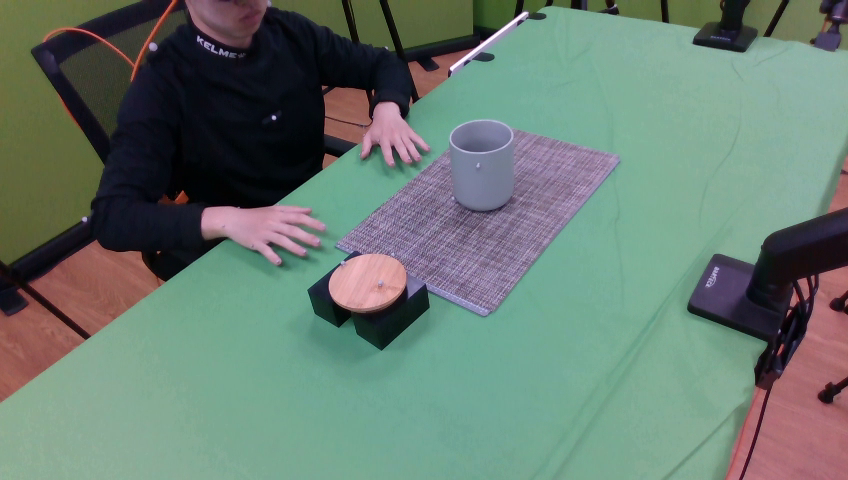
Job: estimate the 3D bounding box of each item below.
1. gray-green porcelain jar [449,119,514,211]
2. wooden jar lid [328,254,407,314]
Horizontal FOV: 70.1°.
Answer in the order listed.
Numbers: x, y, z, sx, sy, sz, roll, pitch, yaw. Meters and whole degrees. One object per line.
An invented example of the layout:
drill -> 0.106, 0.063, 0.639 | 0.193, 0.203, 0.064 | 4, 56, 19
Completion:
gray-green porcelain jar -> 0.098, -0.120, 1.009 | 0.106, 0.127, 0.105 | -4, 41, 4
wooden jar lid -> -0.077, 0.062, 0.832 | 0.108, 0.021, 0.108 | -4, 39, 4
